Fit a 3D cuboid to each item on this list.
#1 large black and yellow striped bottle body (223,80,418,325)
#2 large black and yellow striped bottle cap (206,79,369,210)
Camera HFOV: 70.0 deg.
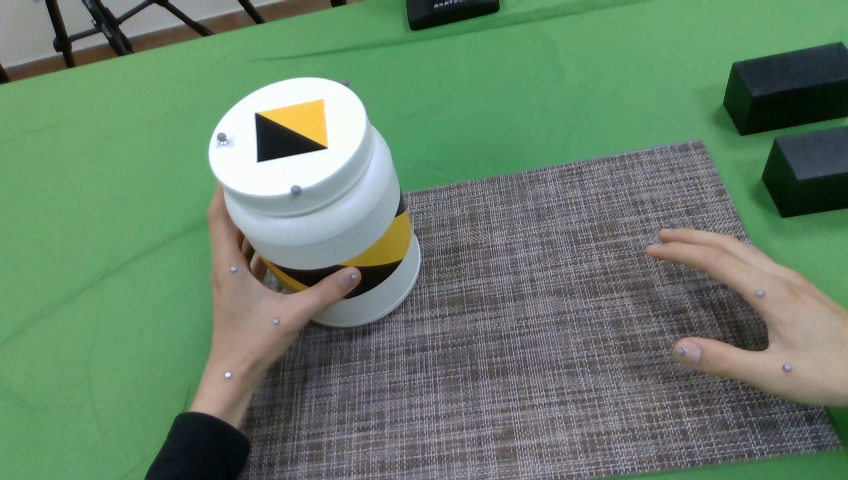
[{"bbox_3d":[-0.082,-0.025,0.499,0.130,0.186,0.129,-5,56,7],"label":"large black and yellow striped bottle body"},{"bbox_3d":[-0.097,-0.071,0.430,0.115,0.019,0.114,-4,55,6],"label":"large black and yellow striped bottle cap"}]
